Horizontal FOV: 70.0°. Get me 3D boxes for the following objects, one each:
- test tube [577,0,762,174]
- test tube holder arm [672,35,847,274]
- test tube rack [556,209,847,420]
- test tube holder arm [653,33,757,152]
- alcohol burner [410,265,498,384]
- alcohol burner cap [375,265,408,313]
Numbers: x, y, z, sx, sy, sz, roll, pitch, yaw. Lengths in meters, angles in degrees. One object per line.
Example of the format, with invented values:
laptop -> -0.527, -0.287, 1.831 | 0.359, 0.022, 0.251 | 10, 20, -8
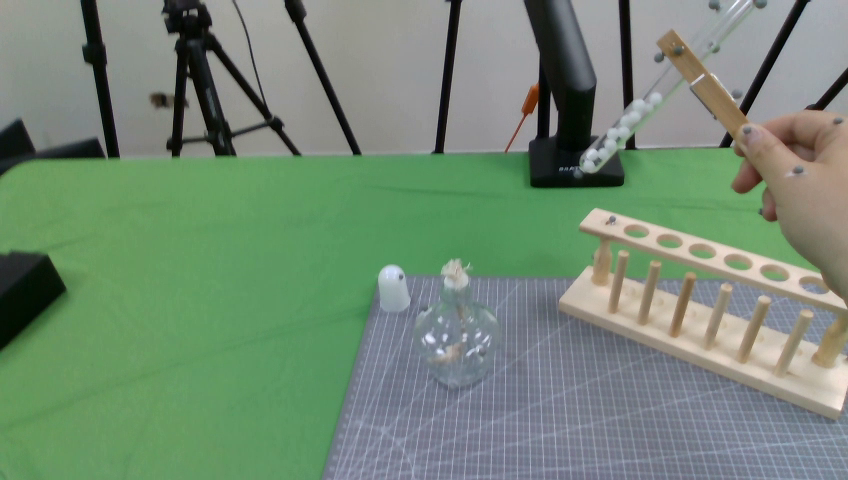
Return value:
test tube -> 0.156, -0.100, 0.400 | 0.017, 0.150, 0.017 | 30, 30, -19
test tube holder arm -> 0.204, -0.057, 0.378 | 0.013, 0.015, 0.177 | -12, 67, -55
test tube rack -> 0.243, 0.056, 0.534 | 0.240, 0.086, 0.066 | 21, 43, 32
test tube holder arm -> 0.177, -0.093, 0.382 | 0.087, 0.015, 0.010 | 54, 32, 7
alcohol burner -> 0.025, 0.067, 0.521 | 0.078, 0.120, 0.077 | -2, 38, 2
alcohol burner cap -> -0.034, 0.047, 0.618 | 0.034, 0.048, 0.033 | -3, 37, 2
